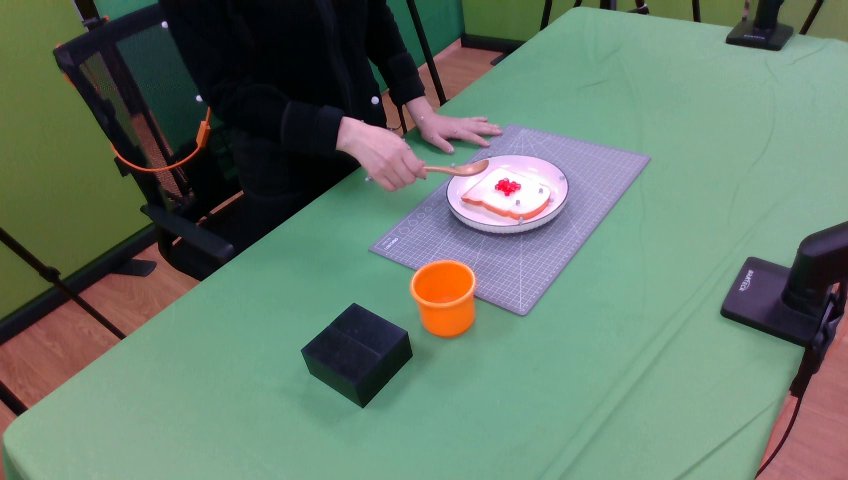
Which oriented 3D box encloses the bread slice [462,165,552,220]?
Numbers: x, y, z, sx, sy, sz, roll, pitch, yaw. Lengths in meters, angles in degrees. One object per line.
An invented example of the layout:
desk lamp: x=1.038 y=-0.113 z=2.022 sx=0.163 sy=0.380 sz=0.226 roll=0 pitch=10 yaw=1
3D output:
bread slice: x=0.150 y=-0.080 z=1.036 sx=0.133 sy=0.018 sz=0.107 roll=22 pitch=51 yaw=31

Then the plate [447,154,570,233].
plate: x=0.143 y=-0.076 z=1.032 sx=0.209 sy=0.038 sz=0.208 roll=-5 pitch=40 yaw=5

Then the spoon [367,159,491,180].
spoon: x=0.007 y=-0.108 z=0.937 sx=0.194 sy=0.022 sz=0.041 roll=-2 pitch=32 yaw=2
